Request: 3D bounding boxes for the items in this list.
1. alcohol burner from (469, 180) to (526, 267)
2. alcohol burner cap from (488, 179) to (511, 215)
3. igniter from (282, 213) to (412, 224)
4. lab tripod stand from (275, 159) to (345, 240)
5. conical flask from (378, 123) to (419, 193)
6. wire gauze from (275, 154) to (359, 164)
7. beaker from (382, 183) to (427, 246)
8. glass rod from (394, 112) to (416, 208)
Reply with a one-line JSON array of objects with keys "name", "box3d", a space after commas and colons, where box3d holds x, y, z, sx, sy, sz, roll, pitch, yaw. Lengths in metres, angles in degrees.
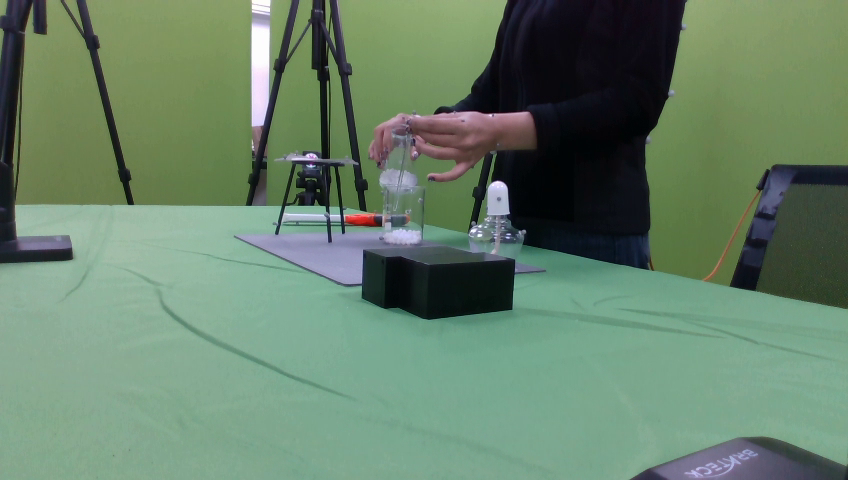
[{"name": "alcohol burner", "box3d": [0.101, -0.022, 0.821, 0.078, 0.119, 0.078, 4, 8, 0]}, {"name": "alcohol burner cap", "box3d": [0.101, -0.058, 0.816, 0.034, 0.048, 0.034, -4, 9, 1]}, {"name": "igniter", "box3d": [-0.159, -0.046, 1.287, 0.278, 0.025, 0.057, -1, -3, -21]}, {"name": "lab tripod stand", "box3d": [-0.181, -0.072, 1.039, 0.148, 0.131, 0.148, 4, 8, 0]}, {"name": "conical flask", "box3d": [-0.041, -0.147, 1.056, 0.075, 0.122, 0.075, 4, 49, -4]}, {"name": "wire gauze", "box3d": [-0.179, -0.137, 1.028, 0.121, 0.011, 0.125, 4, 8, 0]}, {"name": "beaker", "box3d": [-0.033, -0.044, 1.007, 0.074, 0.100, 0.084, 6, 7, 22]}, {"name": "glass rod", "box3d": [-0.031, -0.122, 0.962, 0.008, 0.199, 0.008, 7, 47, -7]}]
